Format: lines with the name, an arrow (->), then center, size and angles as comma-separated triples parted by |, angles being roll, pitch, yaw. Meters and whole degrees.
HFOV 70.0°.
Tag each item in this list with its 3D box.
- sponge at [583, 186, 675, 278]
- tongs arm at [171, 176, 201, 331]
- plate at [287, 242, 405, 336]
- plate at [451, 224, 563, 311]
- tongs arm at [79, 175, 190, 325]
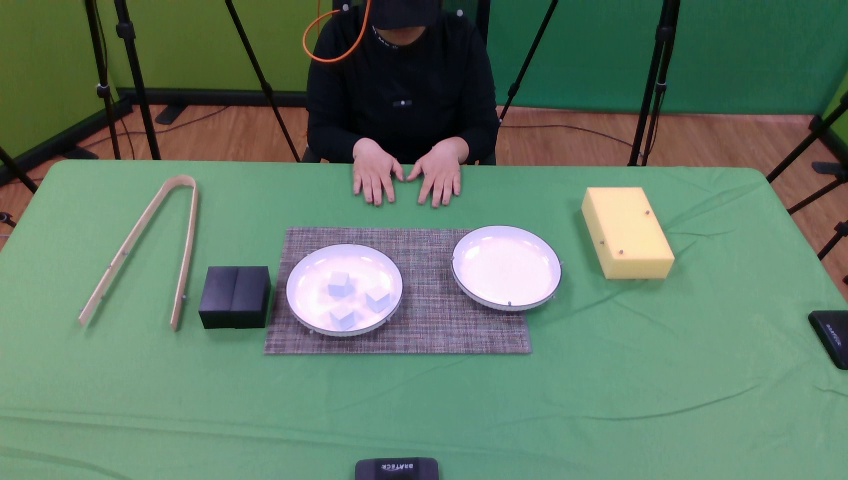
sponge -> 0.404, -0.020, 1.215 | 0.118, 0.061, 0.205 | -2, 46, -4
tongs arm -> -0.453, 0.010, 1.151 | 0.028, 0.028, 0.385 | -6, 47, -6
plate -> -0.138, 0.090, 1.085 | 0.208, 0.039, 0.206 | 2, 46, -2
plate -> 0.154, 0.053, 1.140 | 0.209, 0.038, 0.208 | 2, 46, -2
tongs arm -> -0.534, 0.005, 1.145 | 0.051, 0.026, 0.382 | 6, 45, 0
